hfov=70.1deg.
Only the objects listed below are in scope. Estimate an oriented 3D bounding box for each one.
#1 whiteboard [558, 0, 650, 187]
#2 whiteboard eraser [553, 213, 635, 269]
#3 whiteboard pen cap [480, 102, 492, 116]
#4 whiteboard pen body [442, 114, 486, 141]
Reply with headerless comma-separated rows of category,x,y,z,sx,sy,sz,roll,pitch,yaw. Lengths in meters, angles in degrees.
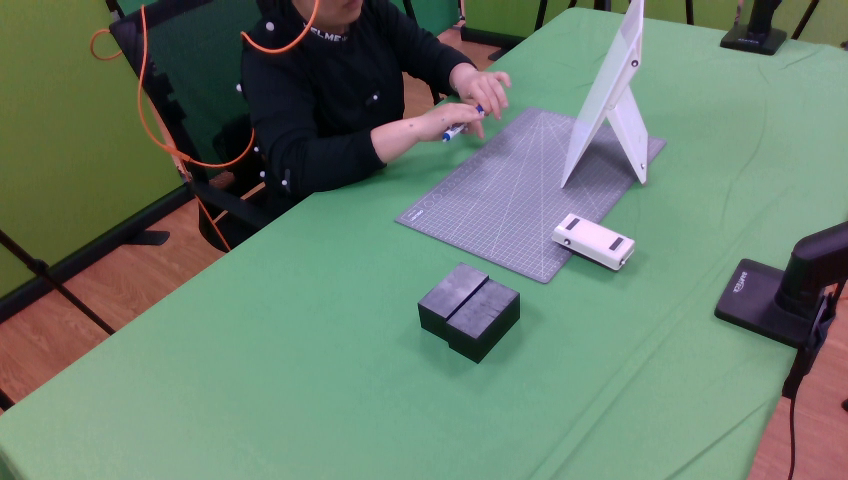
whiteboard,0.362,-0.238,1.025,0.144,0.306,0.217,21,44,3
whiteboard eraser,0.258,0.003,0.918,0.112,0.042,0.056,27,49,30
whiteboard pen cap,0.120,-0.255,1.172,0.018,0.018,0.033,-11,37,-3
whiteboard pen body,0.077,-0.212,1.120,0.017,0.017,0.141,21,37,30
